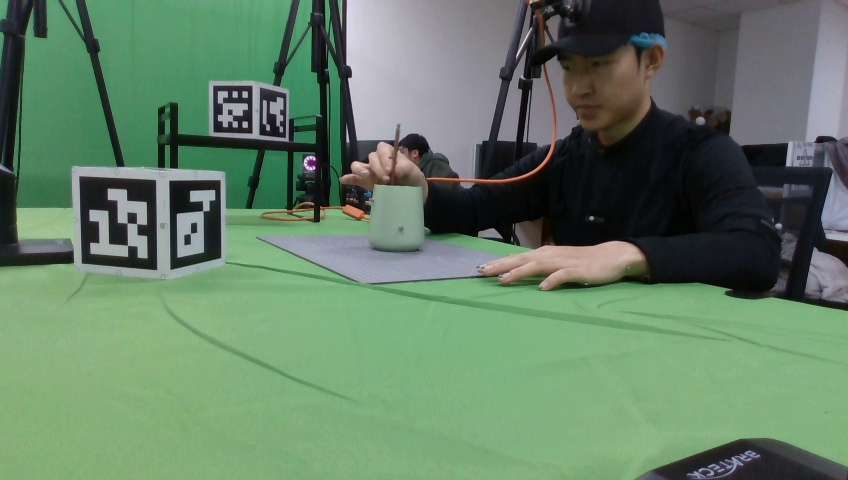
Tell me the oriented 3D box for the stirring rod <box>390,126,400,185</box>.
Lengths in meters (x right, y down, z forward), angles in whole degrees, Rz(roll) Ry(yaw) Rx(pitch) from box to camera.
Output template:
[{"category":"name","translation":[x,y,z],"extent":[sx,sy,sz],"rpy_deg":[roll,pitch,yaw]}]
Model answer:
[{"category":"stirring rod","translation":[-0.051,-0.091,0.951],"extent":[0.006,0.176,0.014],"rpy_deg":[6,2,-18]}]

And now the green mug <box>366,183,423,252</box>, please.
[{"category":"green mug","translation":[-0.054,-0.039,0.989],"extent":[0.093,0.105,0.124],"rpy_deg":[-1,8,-29]}]
